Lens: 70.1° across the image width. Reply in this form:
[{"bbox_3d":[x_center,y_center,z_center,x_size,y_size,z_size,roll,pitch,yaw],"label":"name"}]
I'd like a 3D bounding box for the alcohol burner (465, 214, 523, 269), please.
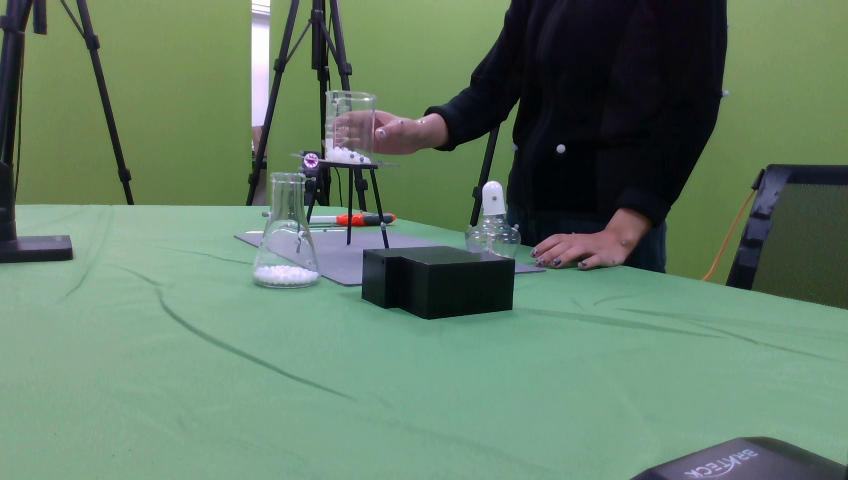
[{"bbox_3d":[0.094,-0.022,0.815,0.078,0.119,0.078,0,7,0],"label":"alcohol burner"}]

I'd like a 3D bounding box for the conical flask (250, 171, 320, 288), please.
[{"bbox_3d":[-0.150,-0.013,0.658,0.075,0.122,0.075,2,7,0],"label":"conical flask"}]

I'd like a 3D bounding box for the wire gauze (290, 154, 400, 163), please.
[{"bbox_3d":[-0.112,-0.114,0.883,0.124,0.011,0.122,5,5,28],"label":"wire gauze"}]

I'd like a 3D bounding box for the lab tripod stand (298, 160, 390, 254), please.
[{"bbox_3d":[-0.111,-0.050,0.893,0.148,0.131,0.148,4,7,0],"label":"lab tripod stand"}]

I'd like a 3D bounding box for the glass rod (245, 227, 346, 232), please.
[{"bbox_3d":[-0.237,-0.021,1.141,0.201,0.008,0.008,-2,8,-32],"label":"glass rod"}]

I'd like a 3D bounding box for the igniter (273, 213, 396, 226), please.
[{"bbox_3d":[-0.179,-0.044,1.258,0.278,0.025,0.057,-3,-1,-39],"label":"igniter"}]

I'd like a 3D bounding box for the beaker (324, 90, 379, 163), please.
[{"bbox_3d":[-0.110,-0.162,0.879,0.083,0.100,0.074,8,7,36],"label":"beaker"}]

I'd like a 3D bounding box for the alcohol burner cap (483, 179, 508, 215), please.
[{"bbox_3d":[0.094,-0.057,0.810,0.034,0.048,0.034,-8,6,1],"label":"alcohol burner cap"}]
